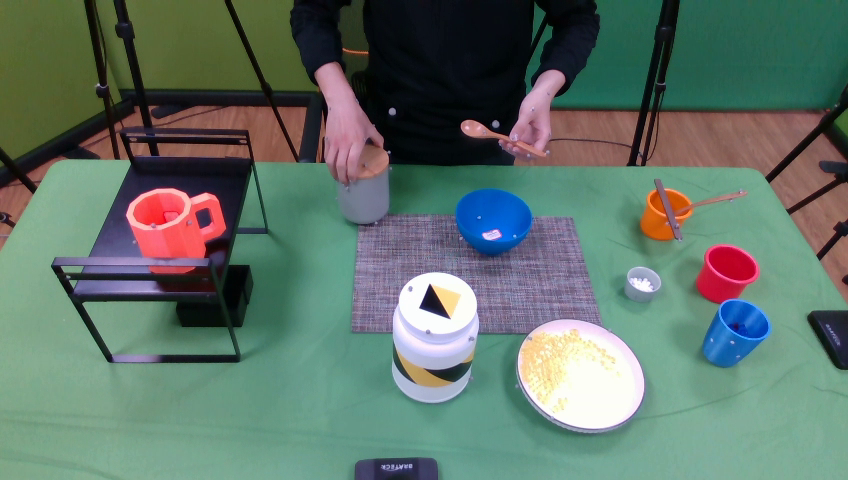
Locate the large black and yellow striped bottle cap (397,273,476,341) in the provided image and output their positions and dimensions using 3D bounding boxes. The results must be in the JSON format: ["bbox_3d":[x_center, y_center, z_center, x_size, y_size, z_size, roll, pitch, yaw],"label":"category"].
[{"bbox_3d":[0.018,0.094,0.878,0.115,0.019,0.114,3,46,-3],"label":"large black and yellow striped bottle cap"}]

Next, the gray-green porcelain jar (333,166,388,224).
[{"bbox_3d":[-0.125,-0.104,1.211,0.106,0.127,0.105,1,43,-1],"label":"gray-green porcelain jar"}]

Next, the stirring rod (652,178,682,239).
[{"bbox_3d":[0.481,-0.065,1.204,0.014,0.006,0.175,1,46,0],"label":"stirring rod"}]

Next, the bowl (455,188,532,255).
[{"bbox_3d":[0.131,-0.025,1.186,0.151,0.077,0.150,2,46,-2],"label":"bowl"}]

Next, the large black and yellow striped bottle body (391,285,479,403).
[{"bbox_3d":[0.015,0.153,0.938,0.131,0.185,0.130,2,46,-2],"label":"large black and yellow striped bottle body"}]

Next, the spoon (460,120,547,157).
[{"bbox_3d":[0.136,-0.178,1.062,0.041,0.022,0.192,-33,40,-28],"label":"spoon"}]

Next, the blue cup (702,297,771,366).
[{"bbox_3d":[0.519,0.162,1.025,0.093,0.101,0.092,3,45,-3],"label":"blue cup"}]

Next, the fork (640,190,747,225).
[{"bbox_3d":[0.533,-0.064,1.211,0.207,0.019,0.028,-22,28,38],"label":"fork"}]

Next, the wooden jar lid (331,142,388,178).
[{"bbox_3d":[-0.124,-0.150,1.169,0.108,0.021,0.107,1,44,-1],"label":"wooden jar lid"}]

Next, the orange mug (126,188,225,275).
[{"bbox_3d":[-0.357,-0.019,0.884,0.126,0.101,0.083,-29,54,-23],"label":"orange mug"}]

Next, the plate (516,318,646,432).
[{"bbox_3d":[0.253,0.221,0.992,0.209,0.038,0.208,2,46,-2],"label":"plate"}]

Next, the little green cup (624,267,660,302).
[{"bbox_3d":[0.406,0.084,1.135,0.061,0.039,0.061,3,45,-3],"label":"little green cup"}]
